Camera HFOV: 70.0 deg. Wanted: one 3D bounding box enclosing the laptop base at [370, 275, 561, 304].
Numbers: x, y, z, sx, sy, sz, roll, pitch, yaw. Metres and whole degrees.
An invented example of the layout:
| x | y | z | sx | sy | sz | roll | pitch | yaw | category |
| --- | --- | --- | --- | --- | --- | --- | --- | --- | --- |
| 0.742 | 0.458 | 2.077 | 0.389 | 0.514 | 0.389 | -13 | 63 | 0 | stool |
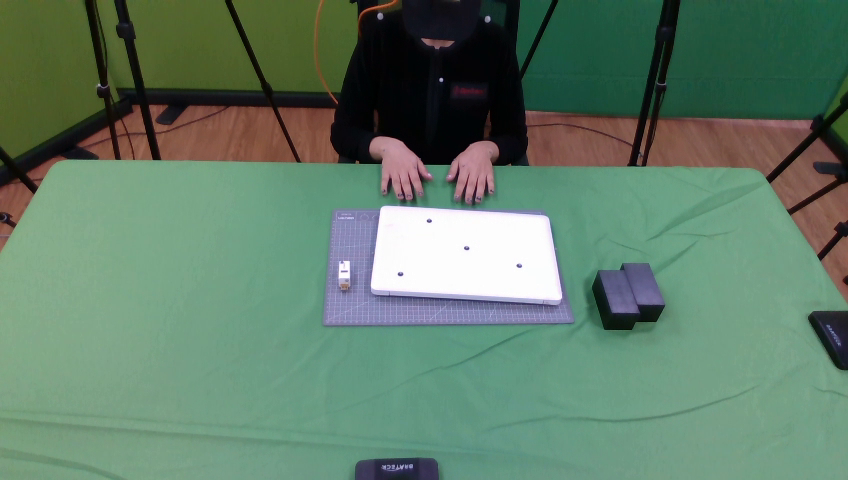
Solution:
| x | y | z | sx | sy | sz | roll | pitch | yaw | category |
| --- | --- | --- | --- | --- | --- | --- | --- | --- | --- |
| 0.080 | 0.028 | 1.180 | 0.354 | 0.023 | 0.234 | 3 | 43 | -1 | laptop base |

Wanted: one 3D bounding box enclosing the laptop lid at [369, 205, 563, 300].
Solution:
| x | y | z | sx | sy | sz | roll | pitch | yaw | category |
| --- | --- | --- | --- | --- | --- | --- | --- | --- | --- |
| 0.081 | 0.018 | 1.173 | 0.357 | 0.013 | 0.240 | 5 | 44 | 0 | laptop lid |

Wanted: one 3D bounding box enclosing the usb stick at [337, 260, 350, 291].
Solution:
| x | y | z | sx | sy | sz | roll | pitch | yaw | category |
| --- | --- | --- | --- | --- | --- | --- | --- | --- | --- |
| -0.148 | 0.067 | 1.115 | 0.021 | 0.027 | 0.059 | -1 | 49 | -5 | usb stick |
